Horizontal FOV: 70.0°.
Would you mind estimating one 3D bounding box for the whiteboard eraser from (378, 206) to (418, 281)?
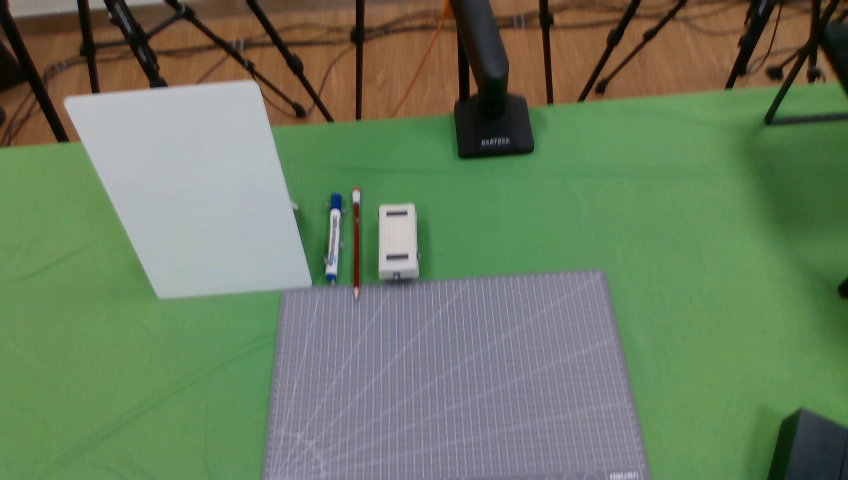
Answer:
[{"bbox_3d":[-0.038,0.005,0.859,0.055,0.042,0.111,-5,58,2],"label":"whiteboard eraser"}]

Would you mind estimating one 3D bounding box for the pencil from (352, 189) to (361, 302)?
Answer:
[{"bbox_3d":[-0.097,0.004,0.881,0.012,0.012,0.192,-6,58,0],"label":"pencil"}]

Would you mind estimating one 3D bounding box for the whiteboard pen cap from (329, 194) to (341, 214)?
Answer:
[{"bbox_3d":[-0.133,-0.052,0.913,0.018,0.018,0.033,-5,56,1],"label":"whiteboard pen cap"}]

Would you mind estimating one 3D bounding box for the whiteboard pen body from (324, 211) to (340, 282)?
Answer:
[{"bbox_3d":[-0.133,-0.003,0.883,0.017,0.017,0.139,-3,58,2],"label":"whiteboard pen body"}]

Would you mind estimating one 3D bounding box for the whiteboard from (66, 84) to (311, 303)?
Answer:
[{"bbox_3d":[-0.276,-0.081,0.808,0.217,0.308,0.142,-4,38,2],"label":"whiteboard"}]
